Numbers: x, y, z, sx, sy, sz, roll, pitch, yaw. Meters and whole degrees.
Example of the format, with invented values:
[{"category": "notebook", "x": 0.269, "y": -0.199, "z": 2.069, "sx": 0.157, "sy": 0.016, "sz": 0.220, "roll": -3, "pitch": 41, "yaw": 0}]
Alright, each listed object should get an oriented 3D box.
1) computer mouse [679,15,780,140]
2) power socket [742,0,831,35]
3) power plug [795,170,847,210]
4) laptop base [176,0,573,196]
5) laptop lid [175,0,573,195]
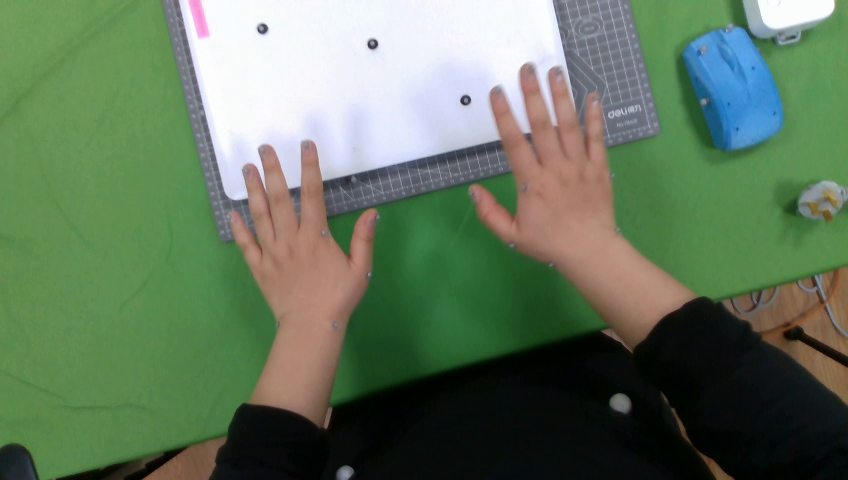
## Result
[{"category": "computer mouse", "x": 0.291, "y": -0.156, "z": 0.576, "sx": 0.063, "sy": 0.041, "sz": 0.117, "roll": -19, "pitch": 86, "yaw": 4}, {"category": "power socket", "x": 0.326, "y": -0.312, "z": 0.573, "sx": 0.072, "sy": 0.032, "sz": 0.226, "roll": -13, "pitch": 91, "yaw": 3}, {"category": "power plug", "x": 0.388, "y": -0.048, "z": 0.565, "sx": 0.072, "sy": 0.052, "sz": 0.035, "roll": -1, "pitch": 126, "yaw": 20}, {"category": "laptop base", "x": -0.051, "y": -0.197, "z": 0.594, "sx": 0.354, "sy": 0.023, "sz": 0.235, "roll": -14, "pitch": 94, "yaw": 2}, {"category": "laptop lid", "x": -0.051, "y": -0.194, "z": 0.582, "sx": 0.357, "sy": 0.013, "sz": 0.242, "roll": -12, "pitch": 93, "yaw": 2}]
